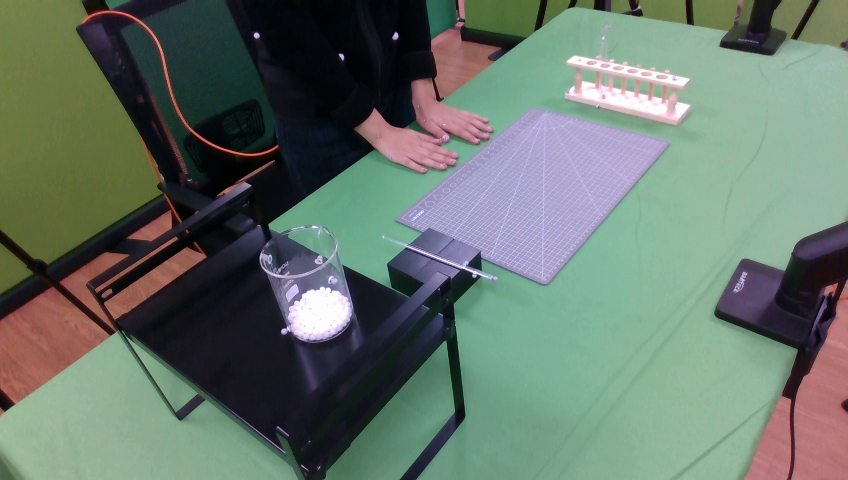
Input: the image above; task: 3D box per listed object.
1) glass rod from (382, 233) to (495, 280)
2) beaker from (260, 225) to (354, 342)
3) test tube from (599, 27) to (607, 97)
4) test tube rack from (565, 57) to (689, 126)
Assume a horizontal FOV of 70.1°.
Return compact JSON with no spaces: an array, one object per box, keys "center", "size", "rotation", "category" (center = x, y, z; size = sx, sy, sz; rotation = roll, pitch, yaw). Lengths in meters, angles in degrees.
[{"center":[0.017,0.023,0.882],"size":[0.198,0.008,0.008],"rotation":[21,48,29],"category":"glass rod"},{"center":[-0.111,0.045,0.601],"size":[0.073,0.101,0.084],"rotation":[7,42,17],"category":"beaker"},{"center":[0.358,-0.353,1.211],"size":[0.017,0.151,0.017],"rotation":[-8,43,8],"category":"test tube"},{"center":[0.412,-0.311,1.230],"size":[0.240,0.085,0.067],"rotation":[24,49,32],"category":"test tube rack"}]
